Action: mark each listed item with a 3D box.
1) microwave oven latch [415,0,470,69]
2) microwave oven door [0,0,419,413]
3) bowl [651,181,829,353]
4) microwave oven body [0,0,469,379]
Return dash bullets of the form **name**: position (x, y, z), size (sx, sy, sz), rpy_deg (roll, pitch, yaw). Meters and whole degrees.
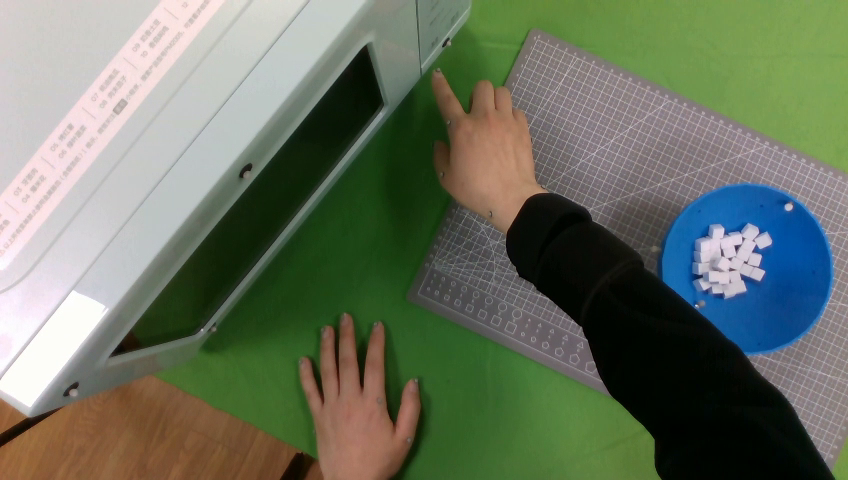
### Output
- **microwave oven latch**: position (0.011, -0.203, 0.575), size (0.030, 0.029, 0.079), rpy_deg (41, 89, 1)
- **microwave oven door**: position (-0.131, -0.038, 0.469), size (0.039, 0.244, 0.355), rpy_deg (39, 89, 2)
- **bowl**: position (0.277, 0.025, 0.564), size (0.151, 0.077, 0.151), rpy_deg (0, 88, 1)
- **microwave oven body**: position (-0.217, -0.163, 0.477), size (0.326, 0.260, 0.441), rpy_deg (39, 89, 1)
